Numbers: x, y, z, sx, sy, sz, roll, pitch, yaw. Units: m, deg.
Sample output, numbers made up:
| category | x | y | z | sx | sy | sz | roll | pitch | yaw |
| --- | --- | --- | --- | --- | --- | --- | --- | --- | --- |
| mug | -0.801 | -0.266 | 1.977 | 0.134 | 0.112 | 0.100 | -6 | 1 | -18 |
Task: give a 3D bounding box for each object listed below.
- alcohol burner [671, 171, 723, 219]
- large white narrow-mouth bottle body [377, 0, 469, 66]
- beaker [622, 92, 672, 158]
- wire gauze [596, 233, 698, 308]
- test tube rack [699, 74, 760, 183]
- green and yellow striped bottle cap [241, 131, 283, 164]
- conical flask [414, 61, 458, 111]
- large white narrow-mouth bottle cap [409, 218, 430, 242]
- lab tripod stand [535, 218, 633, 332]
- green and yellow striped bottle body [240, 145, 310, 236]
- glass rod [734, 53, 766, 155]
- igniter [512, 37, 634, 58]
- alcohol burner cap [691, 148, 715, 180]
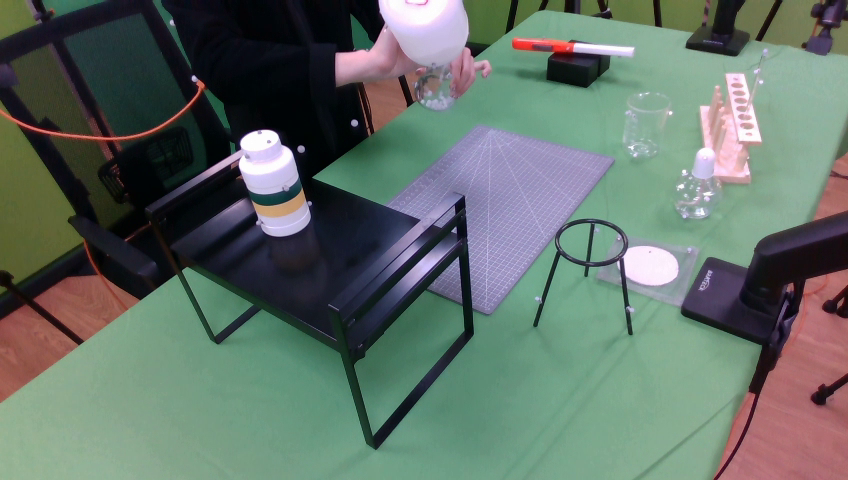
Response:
| category | x | y | z | sx | sy | sz | roll | pitch | yaw |
| --- | --- | --- | --- | --- | --- | --- | --- | --- | --- |
| alcohol burner | 0.434 | -0.093 | 0.955 | 0.078 | 0.119 | 0.077 | -3 | 42 | 4 |
| large white narrow-mouth bottle body | 0.009 | -0.296 | 0.831 | 0.101 | 0.195 | 0.101 | -1 | 86 | 12 |
| beaker | 0.402 | -0.210 | 1.106 | 0.074 | 0.101 | 0.083 | -8 | 40 | -2 |
| wire gauze | 0.331 | 0.038 | 0.897 | 0.124 | 0.011 | 0.121 | 18 | 47 | 26 |
| test tube rack | 0.547 | -0.208 | 1.095 | 0.066 | 0.085 | 0.242 | 6 | 42 | 16 |
| green and yellow striped bottle cap | -0.187 | -0.107 | 0.695 | 0.045 | 0.020 | 0.045 | -3 | 39 | 3 |
| conical flask | 0.023 | -0.271 | 0.983 | 0.075 | 0.122 | 0.075 | 1 | 72 | -3 |
| large white narrow-mouth bottle cap | -0.008 | -0.017 | 0.999 | 0.038 | 0.024 | 0.037 | -3 | 39 | 3 |
| lab tripod stand | 0.215 | 0.050 | 0.803 | 0.148 | 0.132 | 0.147 | -4 | 42 | 4 |
| green and yellow striped bottle body | -0.181 | -0.069 | 0.729 | 0.063 | 0.120 | 0.063 | -4 | 40 | 4 |
| glass rod | 0.540 | -0.220 | 1.007 | 0.008 | 0.201 | 0.008 | -5 | 45 | 6 |
| igniter | 0.328 | -0.433 | 1.360 | 0.275 | 0.025 | 0.057 | 12 | 33 | 20 |
| alcohol burner cap | 0.432 | -0.120 | 0.930 | 0.034 | 0.048 | 0.033 | -6 | 48 | 8 |
